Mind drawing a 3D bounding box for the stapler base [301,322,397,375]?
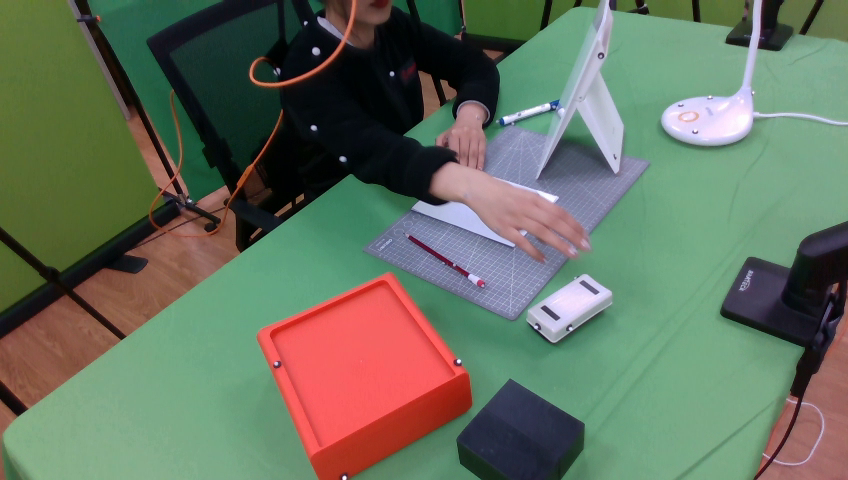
[{"bbox_3d":[-0.102,0.139,0.814,0.131,0.024,0.041,-20,38,-12],"label":"stapler base"}]

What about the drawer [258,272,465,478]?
[{"bbox_3d":[-0.081,0.159,0.764,0.195,0.073,0.210,-23,43,-17],"label":"drawer"}]

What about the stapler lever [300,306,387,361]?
[{"bbox_3d":[-0.106,0.122,0.799,0.118,0.040,0.026,-18,38,-13],"label":"stapler lever"}]

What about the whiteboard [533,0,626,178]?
[{"bbox_3d":[0.321,-0.258,1.049,0.144,0.306,0.217,20,45,4],"label":"whiteboard"}]

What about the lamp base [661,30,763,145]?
[{"bbox_3d":[0.535,-0.287,1.096,0.179,0.181,0.159,-10,40,-4],"label":"lamp base"}]

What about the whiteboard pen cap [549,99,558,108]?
[{"bbox_3d":[0.275,-0.287,1.269,0.033,0.018,0.018,-17,41,-13],"label":"whiteboard pen cap"}]

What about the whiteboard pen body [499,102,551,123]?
[{"bbox_3d":[0.221,-0.268,1.257,0.141,0.017,0.017,-19,41,-13],"label":"whiteboard pen body"}]

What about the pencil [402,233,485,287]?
[{"bbox_3d":[0.026,0.027,0.949,0.012,0.012,0.192,-34,44,-26],"label":"pencil"}]

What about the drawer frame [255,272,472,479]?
[{"bbox_3d":[-0.079,0.161,0.760,0.202,0.083,0.211,-24,43,-18],"label":"drawer frame"}]

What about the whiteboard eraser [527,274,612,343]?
[{"bbox_3d":[0.198,0.094,0.820,0.113,0.042,0.055,-29,43,-22],"label":"whiteboard eraser"}]
